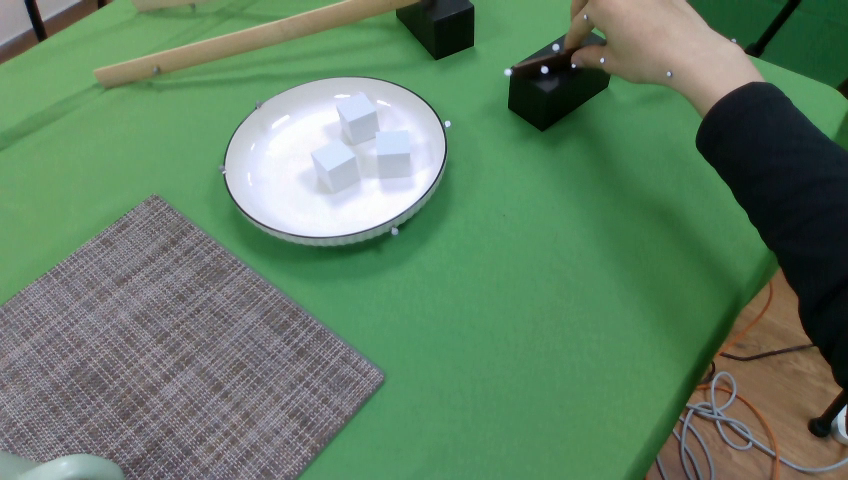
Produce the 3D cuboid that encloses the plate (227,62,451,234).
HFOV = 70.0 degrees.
[{"bbox_3d":[-0.078,-0.087,0.577,0.207,0.039,0.205,-2,56,3],"label":"plate"}]

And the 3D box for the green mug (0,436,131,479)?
[{"bbox_3d":[-0.247,0.161,0.370,0.125,0.106,0.091,-24,57,-13],"label":"green mug"}]

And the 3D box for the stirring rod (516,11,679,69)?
[{"bbox_3d":[0.170,-0.195,0.589,0.176,0.014,0.005,-19,61,-10],"label":"stirring rod"}]

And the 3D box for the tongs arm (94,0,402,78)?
[{"bbox_3d":[-0.173,-0.236,0.658,0.387,0.028,0.028,-14,49,4],"label":"tongs arm"}]
